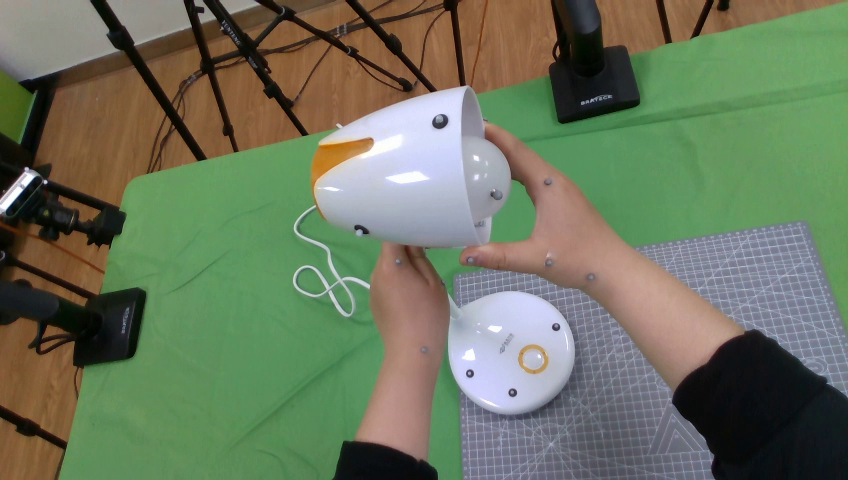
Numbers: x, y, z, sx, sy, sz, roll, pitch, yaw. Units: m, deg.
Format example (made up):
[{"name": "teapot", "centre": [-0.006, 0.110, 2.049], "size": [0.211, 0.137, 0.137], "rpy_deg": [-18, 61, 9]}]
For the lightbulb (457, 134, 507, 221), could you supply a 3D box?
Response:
[{"name": "lightbulb", "centre": [0.004, -0.039, 0.421], "size": [0.107, 0.060, 0.059], "rpy_deg": [-8, 62, 19]}]

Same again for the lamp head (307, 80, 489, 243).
[{"name": "lamp head", "centre": [-0.018, -0.047, 0.432], "size": [0.122, 0.113, 0.111], "rpy_deg": [-7, 62, 20]}]

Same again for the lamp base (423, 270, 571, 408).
[{"name": "lamp base", "centre": [0.071, 0.097, 0.711], "size": [0.178, 0.182, 0.160], "rpy_deg": [15, 70, 28]}]
